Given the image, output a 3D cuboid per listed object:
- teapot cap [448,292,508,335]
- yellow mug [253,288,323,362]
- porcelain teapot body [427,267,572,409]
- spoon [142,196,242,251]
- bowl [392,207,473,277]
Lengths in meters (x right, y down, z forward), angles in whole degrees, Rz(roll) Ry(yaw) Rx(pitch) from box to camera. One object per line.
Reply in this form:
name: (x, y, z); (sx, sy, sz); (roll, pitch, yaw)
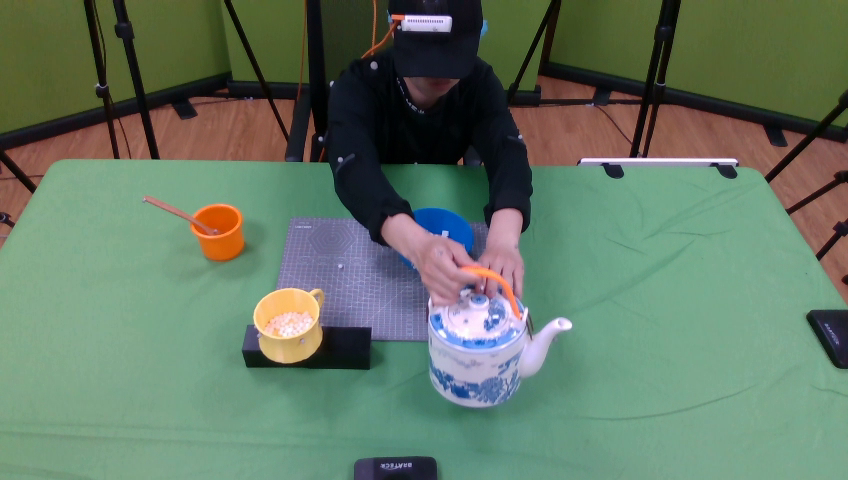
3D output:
teapot cap: (0.077, 0.099, 0.859); (0.085, 0.044, 0.084); (1, 36, -1)
yellow mug: (-0.205, 0.124, 0.963); (0.099, 0.064, 0.130); (28, 48, 20)
porcelain teapot body: (0.105, 0.134, 0.877); (0.205, 0.226, 0.144); (7, 38, 11)
spoon: (-0.421, -0.032, 1.108); (0.021, 0.195, 0.041); (-32, 40, 28)
bowl: (0.015, 0.017, 1.140); (0.151, 0.077, 0.150); (2, 47, -2)
